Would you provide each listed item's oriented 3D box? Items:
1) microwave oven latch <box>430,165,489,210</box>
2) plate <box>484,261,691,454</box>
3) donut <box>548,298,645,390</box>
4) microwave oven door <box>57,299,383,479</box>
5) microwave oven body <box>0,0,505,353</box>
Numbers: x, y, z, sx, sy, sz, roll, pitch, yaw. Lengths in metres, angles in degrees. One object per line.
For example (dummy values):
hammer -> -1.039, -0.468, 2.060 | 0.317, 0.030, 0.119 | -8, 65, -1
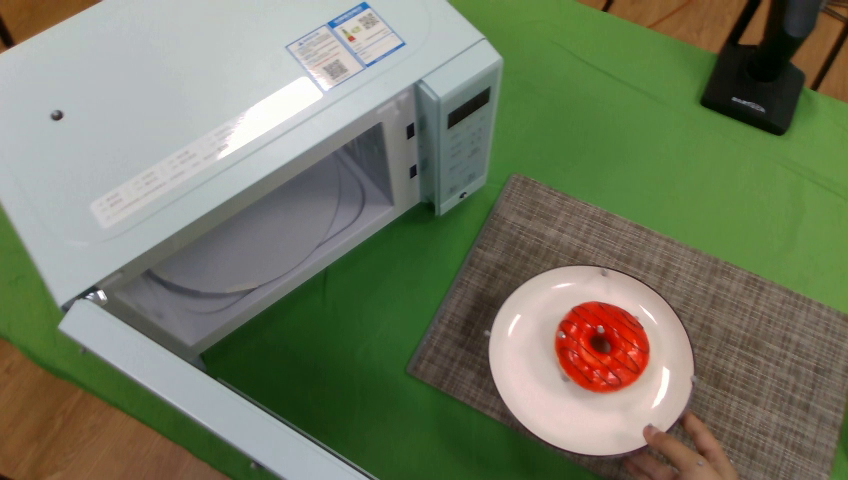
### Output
microwave oven latch -> 0.044, -0.073, 0.757 | 0.079, 0.030, 0.030 | -35, 71, -13
plate -> 0.168, 0.121, 0.637 | 0.209, 0.038, 0.207 | -2, 60, 4
donut -> 0.179, 0.108, 0.631 | 0.099, 0.048, 0.098 | -1, 62, 3
microwave oven door -> -0.122, 0.180, 0.537 | 0.354, 0.245, 0.039 | 28, 69, 12
microwave oven body -> -0.188, -0.119, 0.673 | 0.441, 0.262, 0.323 | -36, 71, -13
